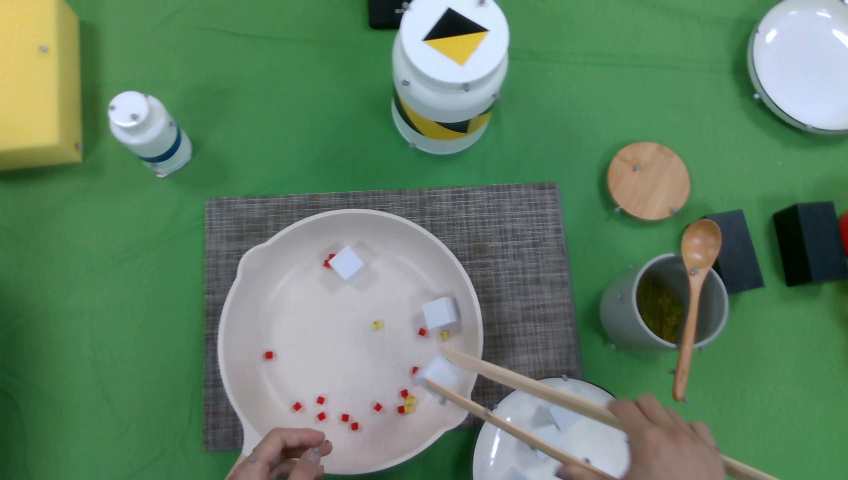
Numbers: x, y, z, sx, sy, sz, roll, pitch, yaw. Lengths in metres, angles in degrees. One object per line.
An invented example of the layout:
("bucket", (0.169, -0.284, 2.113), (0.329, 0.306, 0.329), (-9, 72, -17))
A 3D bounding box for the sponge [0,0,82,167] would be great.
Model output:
("sponge", (-0.502, -0.199, 0.749), (0.118, 0.061, 0.206), (-8, 79, -6))

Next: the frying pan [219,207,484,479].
("frying pan", (-0.141, 0.185, 0.664), (0.306, 0.103, 0.486), (37, 70, 5))

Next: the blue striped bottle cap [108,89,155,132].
("blue striped bottle cap", (-0.321, -0.143, 0.666), (0.044, 0.020, 0.044), (1, 79, -4))

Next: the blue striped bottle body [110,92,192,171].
("blue striped bottle body", (-0.324, -0.130, 0.715), (0.063, 0.121, 0.063), (1, 77, -3))

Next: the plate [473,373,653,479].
("plate", (0.159, 0.260, 0.704), (0.208, 0.039, 0.206), (1, 79, -4))

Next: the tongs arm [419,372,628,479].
("tongs arm", (0.165, 0.189, 0.527), (0.382, 0.027, 0.050), (23, 55, 27))

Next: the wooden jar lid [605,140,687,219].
("wooden jar lid", (0.291, -0.078, 0.798), (0.108, 0.021, 0.108), (1, 79, -3))

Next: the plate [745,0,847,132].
("plate", (0.543, -0.244, 0.841), (0.209, 0.038, 0.208), (1, 77, -3))

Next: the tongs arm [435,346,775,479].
("tongs arm", (0.177, 0.173, 0.539), (0.385, 0.028, 0.028), (19, 49, 25))

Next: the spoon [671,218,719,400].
("spoon", (0.280, 0.071, 0.638), (0.042, 0.021, 0.193), (13, 81, -4))

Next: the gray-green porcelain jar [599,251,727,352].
("gray-green porcelain jar", (0.270, 0.077, 0.708), (0.106, 0.127, 0.105), (1, 77, -3))

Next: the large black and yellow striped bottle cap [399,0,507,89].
("large black and yellow striped bottle cap", (0.031, -0.216, 0.641), (0.115, 0.019, 0.114), (1, 79, -3))

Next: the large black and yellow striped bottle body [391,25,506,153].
("large black and yellow striped bottle body", (0.025, -0.196, 0.722), (0.131, 0.184, 0.130), (1, 77, -3))
